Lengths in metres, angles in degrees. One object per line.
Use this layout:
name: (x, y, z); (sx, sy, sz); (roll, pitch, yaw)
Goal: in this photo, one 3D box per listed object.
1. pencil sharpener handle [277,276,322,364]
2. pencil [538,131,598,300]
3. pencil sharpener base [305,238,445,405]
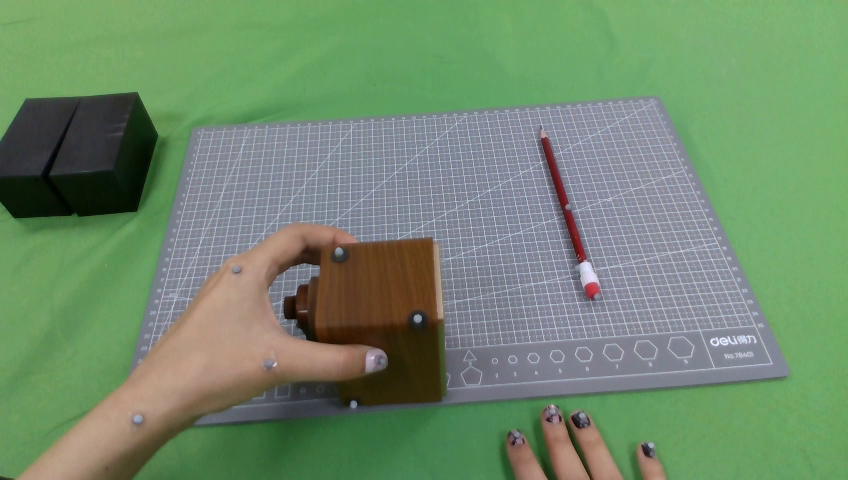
pencil sharpener handle: (-0.079, 0.052, 0.366); (0.030, 0.068, 0.035); (-3, 40, 0)
pencil: (0.115, -0.030, 0.504); (0.012, 0.012, 0.192); (-5, 50, -2)
pencil sharpener base: (-0.027, 0.055, 0.378); (0.077, 0.108, 0.061); (-3, 52, 0)
